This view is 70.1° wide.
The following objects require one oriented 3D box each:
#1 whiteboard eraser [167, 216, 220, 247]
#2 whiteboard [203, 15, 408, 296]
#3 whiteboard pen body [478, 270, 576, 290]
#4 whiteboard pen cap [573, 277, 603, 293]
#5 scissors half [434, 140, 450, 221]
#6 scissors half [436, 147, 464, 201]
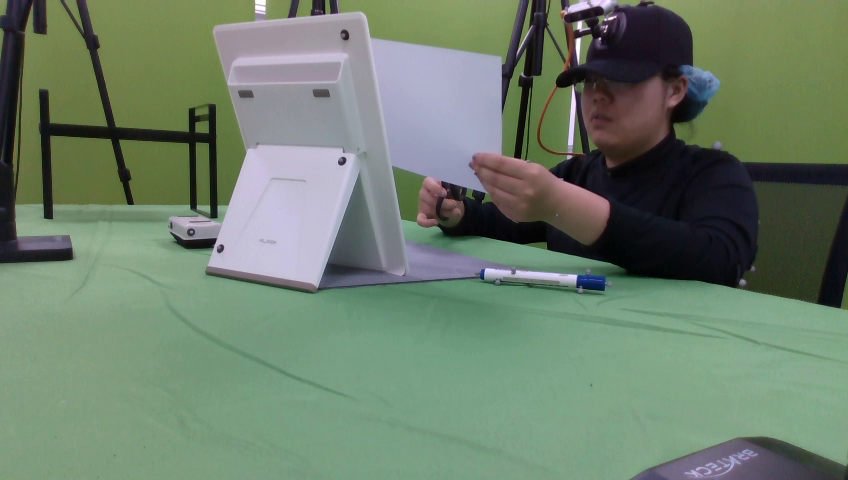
[{"bbox_3d":[-0.350,-0.013,0.920,0.056,0.042,0.112,0,7,-35],"label":"whiteboard eraser"},{"bbox_3d":[-0.166,-0.072,0.668,0.216,0.305,0.144,8,30,30],"label":"whiteboard"},{"bbox_3d":[0.131,0.048,0.706,0.140,0.017,0.017,4,7,18],"label":"whiteboard pen body"},{"bbox_3d":[0.186,0.051,0.687,0.033,0.018,0.018,5,8,18],"label":"whiteboard pen cap"},{"bbox_3d":[0.028,-0.091,0.968,0.013,0.175,0.040,22,53,20],"label":"scissors half"},{"bbox_3d":[0.040,-0.109,0.976,0.012,0.040,0.176,26,-8,22],"label":"scissors half"}]
